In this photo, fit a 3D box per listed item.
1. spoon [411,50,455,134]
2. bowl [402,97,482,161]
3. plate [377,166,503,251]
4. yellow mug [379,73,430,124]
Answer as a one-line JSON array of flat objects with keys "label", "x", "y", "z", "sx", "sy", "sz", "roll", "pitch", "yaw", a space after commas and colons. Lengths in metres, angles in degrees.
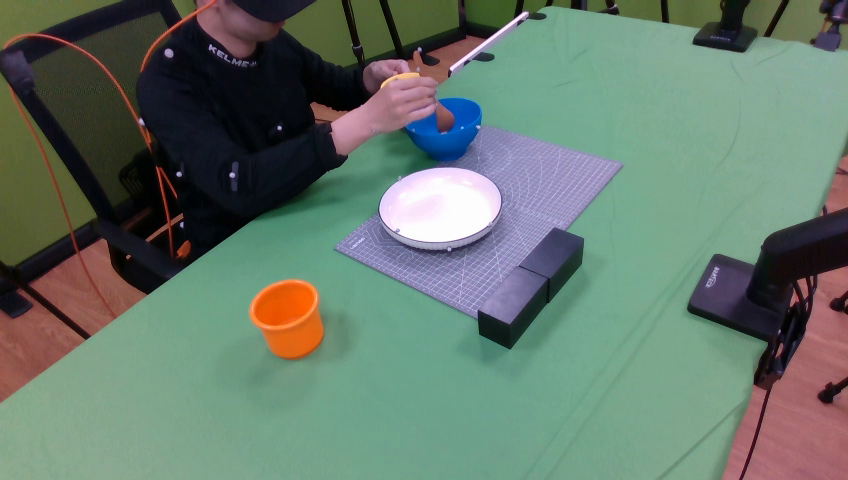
[{"label": "spoon", "x": 0.013, "y": -0.257, "z": 1.068, "sx": 0.041, "sy": 0.195, "sz": 0.021, "roll": -36, "pitch": 47, "yaw": -2}, {"label": "bowl", "x": 0.040, "y": -0.203, "z": 1.155, "sx": 0.151, "sy": 0.077, "sz": 0.150, "roll": -7, "pitch": 38, "yaw": 6}, {"label": "plate", "x": 0.027, "y": -0.050, "z": 1.007, "sx": 0.209, "sy": 0.038, "sz": 0.208, "roll": -4, "pitch": 41, "yaw": 4}, {"label": "yellow mug", "x": -0.041, "y": -0.297, "z": 1.240, "sx": 0.100, "sy": 0.064, "sz": 0.130, "roll": -19, "pitch": 39, "yaw": -10}]
